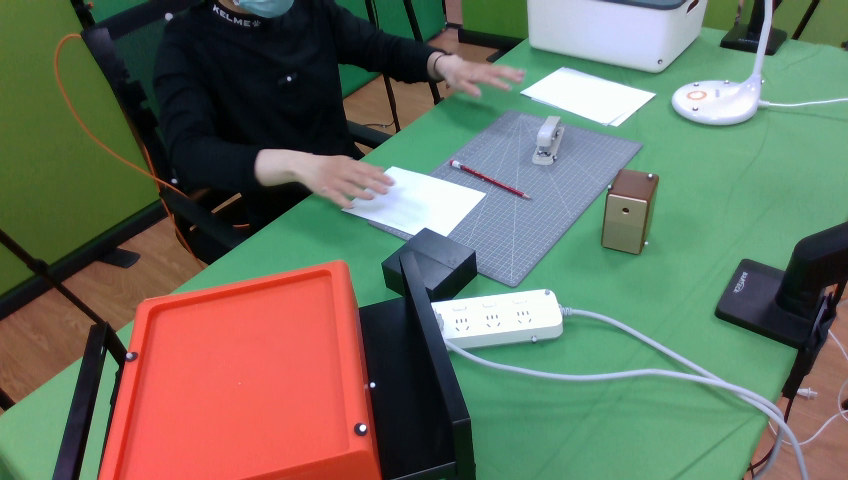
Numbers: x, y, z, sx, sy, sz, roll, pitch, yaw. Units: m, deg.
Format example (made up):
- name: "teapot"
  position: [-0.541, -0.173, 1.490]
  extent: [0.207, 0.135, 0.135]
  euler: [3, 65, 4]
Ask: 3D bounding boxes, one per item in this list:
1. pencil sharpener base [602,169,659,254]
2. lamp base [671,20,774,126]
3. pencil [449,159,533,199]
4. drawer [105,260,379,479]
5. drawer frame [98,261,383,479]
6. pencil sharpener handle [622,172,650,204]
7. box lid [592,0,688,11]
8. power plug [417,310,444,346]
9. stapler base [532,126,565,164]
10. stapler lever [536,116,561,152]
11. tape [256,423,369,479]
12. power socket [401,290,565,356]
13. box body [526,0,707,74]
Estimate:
- name: "pencil sharpener base"
  position: [0.312, -0.044, 0.913]
  extent: [0.061, 0.107, 0.077]
  euler: [14, 45, 24]
- name: "lamp base"
  position: [0.581, -0.332, 1.154]
  extent: [0.179, 0.181, 0.160]
  euler: [2, 41, 7]
- name: "pencil"
  position: [0.118, -0.110, 1.091]
  extent: [0.192, 0.012, 0.012]
  euler: [30, 53, 34]
- name: "drawer"
  position: [-0.150, 0.127, 0.525]
  extent: [0.195, 0.073, 0.210]
  euler: [-11, 41, -5]
- name: "drawer frame"
  position: [-0.148, 0.129, 0.519]
  extent: [0.202, 0.083, 0.212]
  euler: [-12, 41, -6]
- name: "pencil sharpener handle"
  position: [0.328, -0.086, 0.940]
  extent: [0.036, 0.068, 0.030]
  euler: [29, 49, 8]
- name: "box lid"
  position: [0.441, -0.596, 1.383]
  extent: [0.368, 0.015, 0.264]
  euler: [24, 49, 31]
- name: "power plug"
  position: [0.006, 0.122, 0.785]
  extent: [0.035, 0.053, 0.072]
  euler: [-1, 40, 8]
- name: "stapler base"
  position: [0.239, -0.189, 1.155]
  extent: [0.041, 0.024, 0.130]
  euler: [10, 42, 18]
- name: "stapler lever"
  position: [0.236, -0.209, 1.140]
  extent: [0.026, 0.040, 0.118]
  euler: [10, 43, 18]
- name: "tape"
  position: [-0.121, 0.262, 0.659]
  extent: [0.117, 0.053, 0.116]
  euler: [-4, 40, 4]
- name: "power socket"
  position: [0.080, 0.112, 0.822]
  extent: [0.227, 0.033, 0.072]
  euler: [-6, 41, 0]
- name: "box body"
  position: [0.450, -0.540, 1.430]
  extent: [0.361, 0.161, 0.255]
  euler: [24, 50, 31]
